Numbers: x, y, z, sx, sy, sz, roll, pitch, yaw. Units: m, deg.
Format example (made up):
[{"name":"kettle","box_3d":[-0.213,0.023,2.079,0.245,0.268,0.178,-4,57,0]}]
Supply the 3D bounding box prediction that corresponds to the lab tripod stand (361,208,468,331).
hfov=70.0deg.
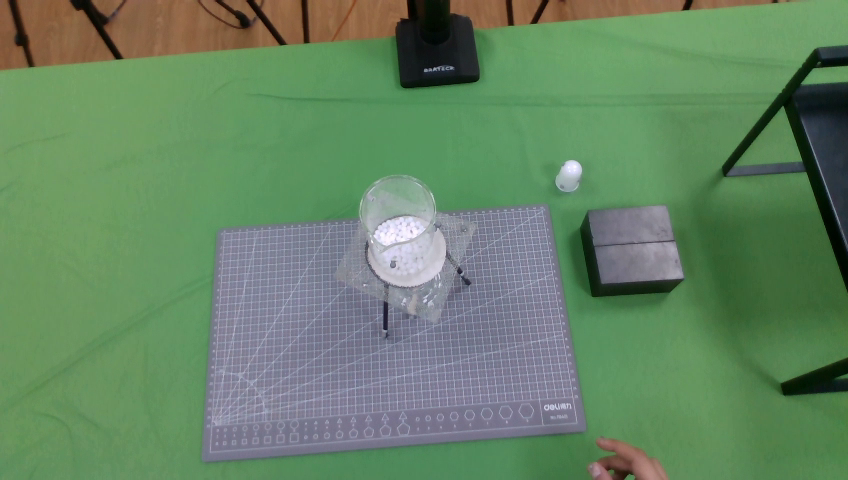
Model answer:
[{"name":"lab tripod stand","box_3d":[-0.018,0.028,0.721,0.148,0.132,0.147,0,66,0]}]

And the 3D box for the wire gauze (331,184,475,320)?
[{"name":"wire gauze","box_3d":[-0.021,0.008,0.658,0.125,0.011,0.121,23,71,8]}]

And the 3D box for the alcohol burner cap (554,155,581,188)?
[{"name":"alcohol burner cap","box_3d":[0.196,-0.095,0.821,0.034,0.048,0.033,-1,67,2]}]

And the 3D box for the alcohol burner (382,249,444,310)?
[{"name":"alcohol burner","box_3d":[-0.014,0.042,0.726,0.078,0.120,0.077,0,68,0]}]

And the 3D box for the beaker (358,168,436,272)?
[{"name":"beaker","box_3d":[-0.026,-0.013,0.615,0.074,0.101,0.083,19,69,9]}]
